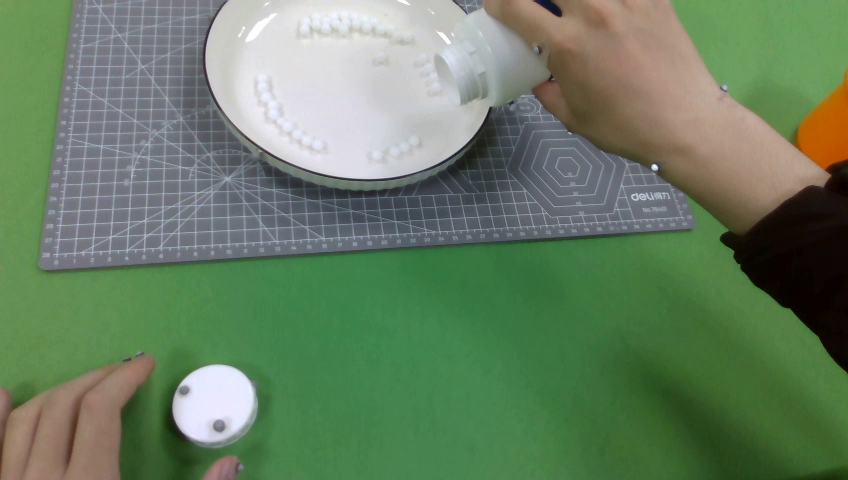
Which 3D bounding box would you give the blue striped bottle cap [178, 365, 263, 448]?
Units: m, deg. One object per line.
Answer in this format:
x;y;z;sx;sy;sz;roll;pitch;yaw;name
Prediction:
-0.115;0.094;0.343;0.045;0.021;0.044;4;66;-8;blue striped bottle cap

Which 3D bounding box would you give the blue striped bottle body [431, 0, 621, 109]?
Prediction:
0.065;-0.132;0.409;0.121;0.063;0.062;-27;70;-7;blue striped bottle body

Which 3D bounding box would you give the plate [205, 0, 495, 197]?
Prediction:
-0.050;-0.117;0.448;0.208;0.039;0.206;5;62;-8;plate
